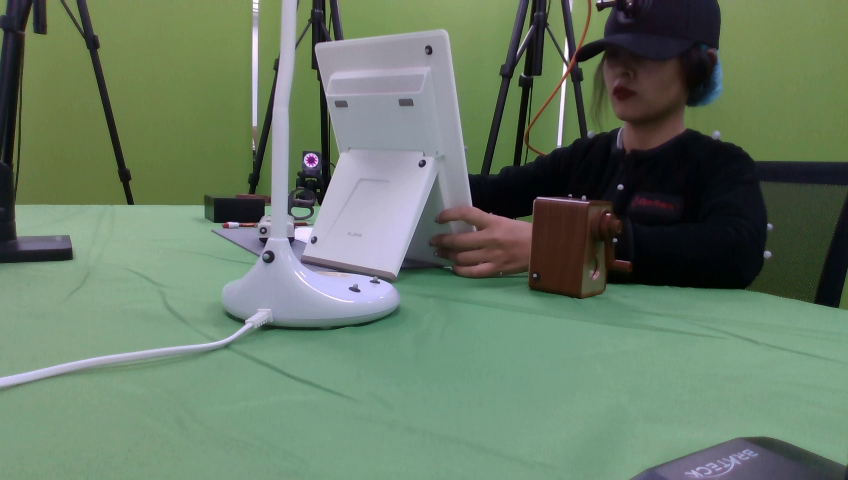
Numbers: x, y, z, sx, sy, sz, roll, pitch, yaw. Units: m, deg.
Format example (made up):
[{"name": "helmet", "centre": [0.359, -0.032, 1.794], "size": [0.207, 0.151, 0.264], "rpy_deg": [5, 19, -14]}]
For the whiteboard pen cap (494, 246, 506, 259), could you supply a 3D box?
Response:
[{"name": "whiteboard pen cap", "centre": [0.117, 0.019, 0.932], "size": [0.018, 0.018, 0.033], "rpy_deg": [3, 6, 5]}]

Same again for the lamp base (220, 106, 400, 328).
[{"name": "lamp base", "centre": [-0.101, -0.023, 0.531], "size": [0.160, 0.180, 0.179], "rpy_deg": [4, 10, 10]}]

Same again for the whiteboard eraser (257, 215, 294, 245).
[{"name": "whiteboard eraser", "centre": [-0.232, -0.016, 0.951], "size": [0.056, 0.042, 0.112], "rpy_deg": [2, 7, -12]}]

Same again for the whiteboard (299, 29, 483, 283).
[{"name": "whiteboard", "centre": [-0.074, -0.082, 0.741], "size": [0.216, 0.305, 0.144], "rpy_deg": [9, 30, 38]}]

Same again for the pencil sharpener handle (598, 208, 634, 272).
[{"name": "pencil sharpener handle", "centre": [0.208, 0.000, 0.644], "size": [0.030, 0.068, 0.036], "rpy_deg": [10, 23, 42]}]

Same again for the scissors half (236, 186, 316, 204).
[{"name": "scissors half", "centre": [-0.320, -0.097, 1.316], "size": [0.176, 0.040, 0.013], "rpy_deg": [-3, 11, -29]}]

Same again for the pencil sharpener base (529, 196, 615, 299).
[{"name": "pencil sharpener base", "centre": [0.167, 0.007, 0.678], "size": [0.076, 0.107, 0.062], "rpy_deg": [10, 10, 42]}]

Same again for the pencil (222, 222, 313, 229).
[{"name": "pencil", "centre": [-0.302, -0.030, 1.189], "size": [0.195, 0.012, 0.012], "rpy_deg": [-2, 9, -42]}]

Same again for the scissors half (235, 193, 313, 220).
[{"name": "scissors half", "centre": [-0.324, -0.077, 1.319], "size": [0.176, 0.040, 0.012], "rpy_deg": [17, 6, -31]}]

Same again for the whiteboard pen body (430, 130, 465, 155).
[{"name": "whiteboard pen body", "centre": [0.031, -0.131, 0.805], "size": [0.017, 0.017, 0.141], "rpy_deg": [5, 1, 18]}]
